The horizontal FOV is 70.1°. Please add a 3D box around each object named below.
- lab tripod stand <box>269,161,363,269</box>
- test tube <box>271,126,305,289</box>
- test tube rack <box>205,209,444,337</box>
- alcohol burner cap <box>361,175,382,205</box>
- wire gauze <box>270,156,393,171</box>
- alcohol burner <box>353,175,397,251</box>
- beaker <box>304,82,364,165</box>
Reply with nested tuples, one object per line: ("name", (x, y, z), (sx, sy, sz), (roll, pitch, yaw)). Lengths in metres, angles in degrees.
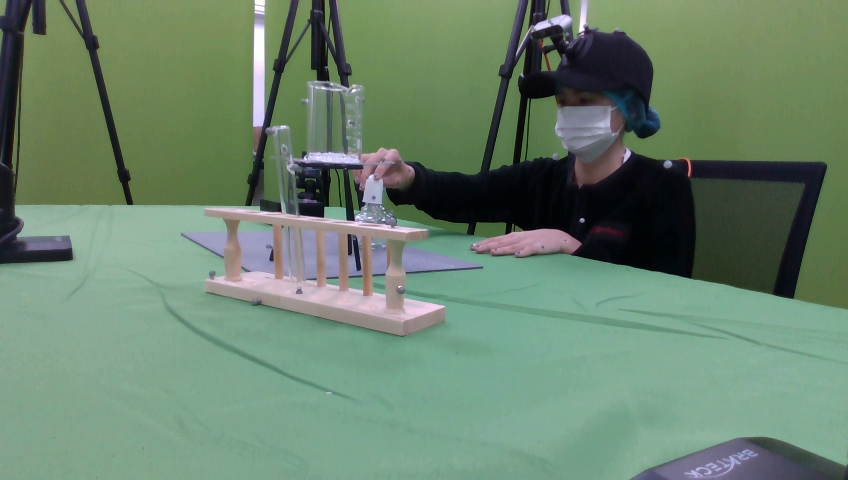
("lab tripod stand", (-0.125, -0.036, 0.794), (0.148, 0.131, 0.148), (5, 7, 0))
("test tube", (-0.124, -0.028, 0.554), (0.017, 0.150, 0.017), (-5, 7, 1))
("test tube rack", (-0.100, 0.021, 0.565), (0.241, 0.085, 0.067), (7, 9, 32))
("alcohol burner cap", (-0.080, -0.078, 0.944), (0.034, 0.048, 0.034), (7, 8, -1))
("wire gauze", (-0.122, -0.100, 0.786), (0.122, 0.011, 0.124), (-5, 14, -38))
("alcohol burner", (-0.082, -0.043, 0.950), (0.078, 0.119, 0.078), (1, 8, 0))
("beaker", (-0.115, -0.148, 0.779), (0.074, 0.100, 0.083), (-2, 10, -30))
